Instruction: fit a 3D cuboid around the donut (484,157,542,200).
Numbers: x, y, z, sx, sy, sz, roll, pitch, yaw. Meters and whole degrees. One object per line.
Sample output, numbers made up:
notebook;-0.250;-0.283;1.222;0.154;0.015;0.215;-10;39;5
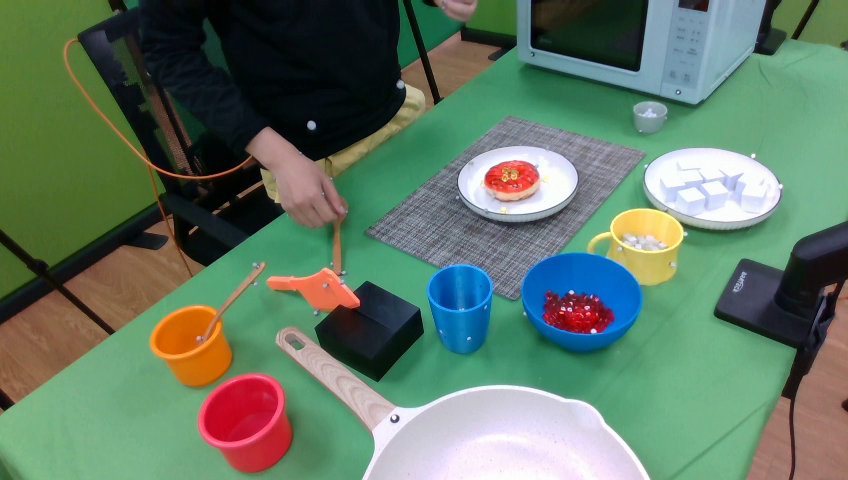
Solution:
donut;0.153;-0.107;1.039;0.099;0.048;0.098;-6;38;5

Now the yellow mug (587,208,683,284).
yellow mug;0.305;0.009;0.884;0.131;0.064;0.099;-4;40;5

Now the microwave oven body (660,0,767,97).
microwave oven body;0.473;-0.516;1.313;0.438;0.261;0.327;26;51;34

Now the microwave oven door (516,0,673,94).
microwave oven door;0.344;-0.458;1.256;0.353;0.245;0.039;26;52;33

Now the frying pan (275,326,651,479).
frying pan;0.003;0.229;0.641;0.484;0.103;0.308;34;54;28

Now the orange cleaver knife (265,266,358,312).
orange cleaver knife;-0.164;0.073;0.864;0.210;0.077;0.012;-6;31;50

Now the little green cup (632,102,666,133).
little green cup;0.434;-0.237;1.171;0.061;0.039;0.061;-5;40;5

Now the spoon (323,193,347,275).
spoon;-0.148;-0.014;1.008;0.042;0.022;0.192;1;40;-9

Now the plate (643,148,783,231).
plate;0.464;-0.080;0.986;0.207;0.039;0.206;-4;41;4

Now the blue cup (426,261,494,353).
blue cup;0.049;0.095;0.792;0.092;0.100;0.092;-3;42;3

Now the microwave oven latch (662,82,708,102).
microwave oven latch;0.518;-0.298;1.202;0.078;0.029;0.030;28;53;35

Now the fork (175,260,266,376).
fork;-0.268;0.103;0.792;0.207;0.019;0.028;-51;41;16

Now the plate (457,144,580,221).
plate;0.162;-0.097;1.042;0.209;0.038;0.208;-4;40;4

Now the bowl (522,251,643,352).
bowl;0.204;0.093;0.792;0.151;0.077;0.150;-4;40;4
